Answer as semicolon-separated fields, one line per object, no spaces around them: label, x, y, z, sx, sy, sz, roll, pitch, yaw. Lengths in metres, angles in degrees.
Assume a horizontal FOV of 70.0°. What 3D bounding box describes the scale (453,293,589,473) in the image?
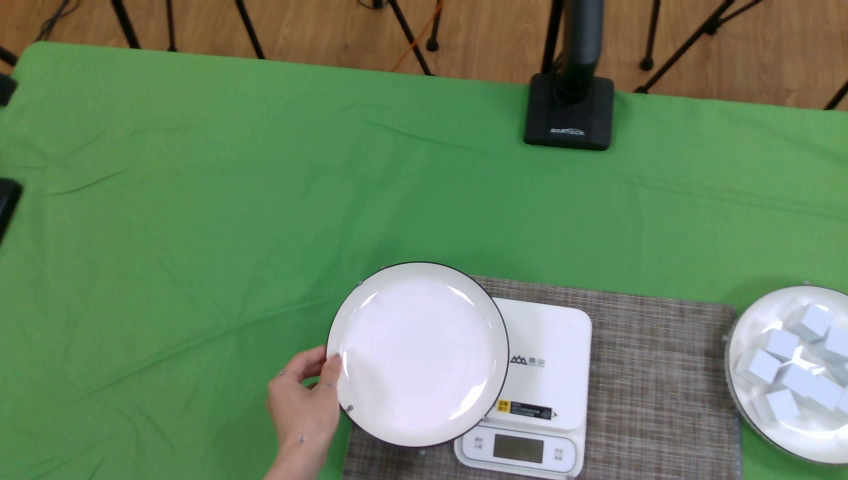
scale;0.118;0.166;0.725;0.148;0.032;0.199;6;71;6

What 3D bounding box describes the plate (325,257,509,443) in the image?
plate;-0.007;0.122;0.689;0.209;0.038;0.208;-2;72;6

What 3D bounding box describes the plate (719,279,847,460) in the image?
plate;0.451;0.149;0.711;0.207;0.039;0.206;-1;70;3
